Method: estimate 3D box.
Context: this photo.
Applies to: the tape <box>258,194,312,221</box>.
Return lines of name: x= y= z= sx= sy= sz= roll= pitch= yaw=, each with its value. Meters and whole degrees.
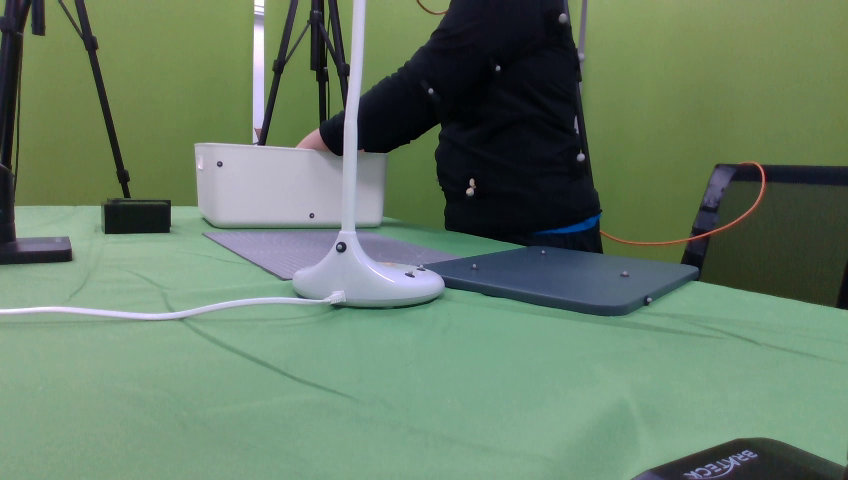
tape: x=-0.298 y=-0.070 z=1.298 sx=0.117 sy=0.052 sz=0.117 roll=2 pitch=6 yaw=0

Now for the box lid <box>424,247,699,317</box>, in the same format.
box lid: x=0.184 y=0.044 z=0.789 sx=0.262 sy=0.015 sz=0.373 roll=8 pitch=9 yaw=35

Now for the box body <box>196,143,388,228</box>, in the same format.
box body: x=-0.286 y=-0.117 z=1.291 sx=0.366 sy=0.160 sz=0.253 roll=-1 pitch=8 yaw=-27

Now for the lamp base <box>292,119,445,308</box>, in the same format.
lamp base: x=-0.056 y=-0.030 z=0.616 sx=0.160 sy=0.180 sz=0.179 roll=4 pitch=10 yaw=8
